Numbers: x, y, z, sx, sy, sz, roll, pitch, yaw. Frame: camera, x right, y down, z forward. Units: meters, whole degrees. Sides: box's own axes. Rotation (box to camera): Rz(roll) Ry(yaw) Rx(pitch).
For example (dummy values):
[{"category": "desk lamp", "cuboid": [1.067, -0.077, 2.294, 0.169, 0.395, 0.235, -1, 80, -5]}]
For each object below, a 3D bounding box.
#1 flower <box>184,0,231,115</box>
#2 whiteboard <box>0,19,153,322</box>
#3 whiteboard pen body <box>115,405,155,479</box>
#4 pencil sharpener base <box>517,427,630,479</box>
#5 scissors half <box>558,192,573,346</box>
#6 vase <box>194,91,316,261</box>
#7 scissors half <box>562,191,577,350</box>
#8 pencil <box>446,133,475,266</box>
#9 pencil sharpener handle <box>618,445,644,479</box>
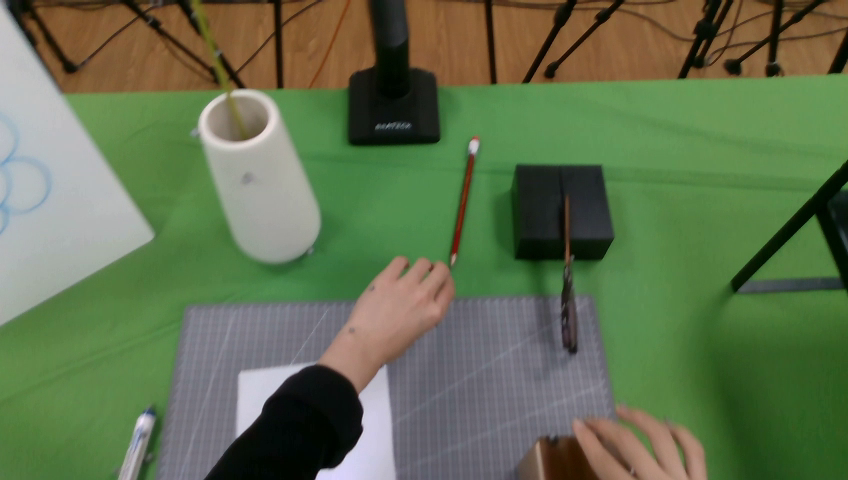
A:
[{"category": "flower", "cuboid": [-0.178, -0.113, 0.559, 0.044, 0.365, 0.038, -8, 43, -2]}, {"category": "whiteboard", "cuboid": [-0.466, -0.088, 0.607, 0.217, 0.308, 0.142, -33, 47, -18]}, {"category": "whiteboard pen body", "cuboid": [-0.279, 0.224, 0.565, 0.017, 0.017, 0.139, 5, 59, 2]}, {"category": "pencil sharpener base", "cuboid": [0.128, 0.207, 0.531, 0.077, 0.108, 0.061, -3, 60, -3]}, {"category": "scissors half", "cuboid": [0.147, 0.024, 0.634, 0.013, 0.040, 0.174, -3, 61, 18]}, {"category": "vase", "cuboid": [-0.172, -0.060, 0.625, 0.098, 0.201, 0.097, 0, 59, 0]}, {"category": "scissors half", "cuboid": [0.155, 0.031, 0.652, 0.012, 0.040, 0.174, -5, 79, 23]}, {"category": "pencil", "cuboid": [0.044, -0.053, 0.735, 0.012, 0.012, 0.192, 9, 62, 4]}, {"category": "pencil sharpener handle", "cuboid": [0.180, 0.197, 0.524, 0.031, 0.068, 0.035, -3, 68, -3]}]
